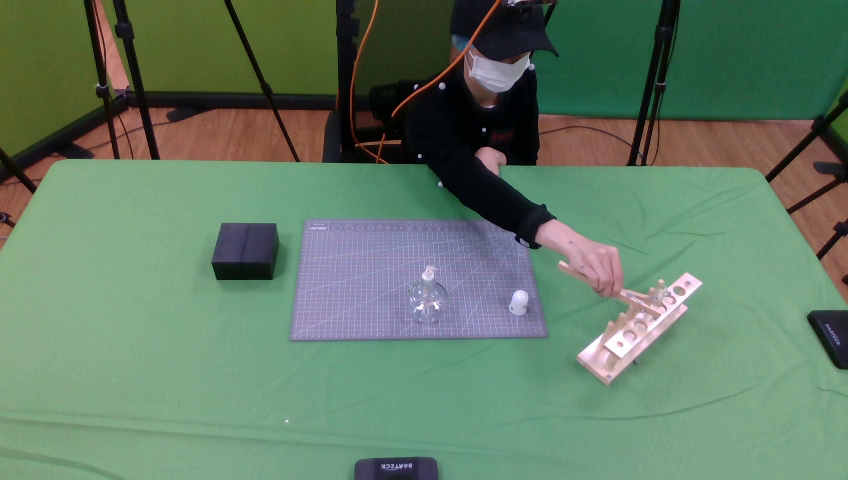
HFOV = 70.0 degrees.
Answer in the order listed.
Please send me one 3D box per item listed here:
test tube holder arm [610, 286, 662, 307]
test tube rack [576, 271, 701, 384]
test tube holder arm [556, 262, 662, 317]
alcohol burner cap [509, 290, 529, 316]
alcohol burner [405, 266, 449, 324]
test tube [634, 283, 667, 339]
[{"bbox_3d":[0.343,0.092,0.987,0.088,0.015,0.010,13,41,-2],"label":"test tube holder arm"},{"bbox_3d":[0.373,0.138,1.048,0.242,0.085,0.066,-31,55,-29],"label":"test tube rack"},{"bbox_3d":[0.300,0.080,0.988,0.178,0.015,0.013,25,41,12],"label":"test tube holder arm"},{"bbox_3d":[0.171,0.110,1.086,0.034,0.048,0.033,2,45,-1],"label":"alcohol burner cap"},{"bbox_3d":[0.005,0.089,1.043,0.078,0.120,0.077,1,45,-1],"label":"alcohol burner"},{"bbox_3d":[0.371,0.120,0.995,0.017,0.151,0.017,0,49,1],"label":"test tube"}]
